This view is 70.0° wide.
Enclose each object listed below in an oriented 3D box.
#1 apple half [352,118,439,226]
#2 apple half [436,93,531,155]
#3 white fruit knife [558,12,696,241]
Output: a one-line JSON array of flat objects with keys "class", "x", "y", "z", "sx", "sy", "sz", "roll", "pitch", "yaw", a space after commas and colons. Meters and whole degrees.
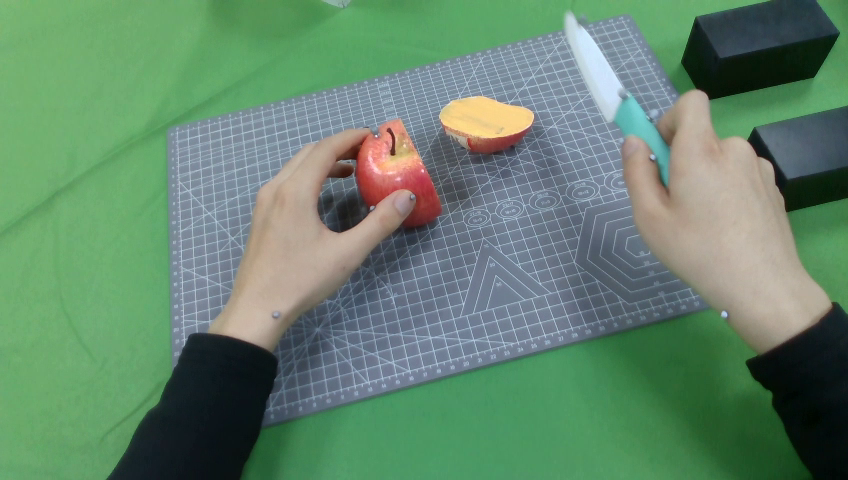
[{"class": "apple half", "x": -0.027, "y": -0.046, "z": 0.468, "sx": 0.053, "sy": 0.075, "sz": 0.080, "roll": -25, "pitch": 65, "yaw": -2}, {"class": "apple half", "x": 0.047, "y": -0.090, "z": 0.505, "sx": 0.081, "sy": 0.033, "sz": 0.080, "roll": -1, "pitch": 40, "yaw": 1}, {"class": "white fruit knife", "x": 0.137, "y": -0.092, "z": 0.428, "sx": 0.016, "sy": 0.027, "sz": 0.205, "roll": 6, "pitch": 53, "yaw": -39}]
